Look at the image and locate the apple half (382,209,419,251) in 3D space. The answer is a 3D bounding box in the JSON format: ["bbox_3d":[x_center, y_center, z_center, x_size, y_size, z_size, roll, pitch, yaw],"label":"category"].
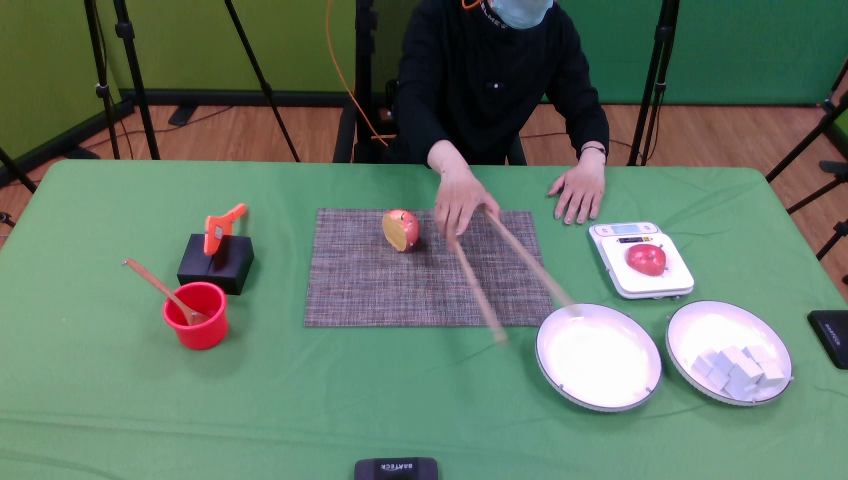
[{"bbox_3d":[-0.039,-0.022,1.175,0.053,0.075,0.080,-27,50,-31],"label":"apple half"}]

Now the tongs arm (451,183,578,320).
[{"bbox_3d":[0.155,0.007,1.094,0.028,0.028,0.385,-27,49,-11],"label":"tongs arm"}]

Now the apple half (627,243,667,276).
[{"bbox_3d":[0.427,0.028,1.150,0.081,0.033,0.081,3,47,-3],"label":"apple half"}]

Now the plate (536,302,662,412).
[{"bbox_3d":[0.288,0.197,1.016,0.209,0.038,0.208,2,46,-2],"label":"plate"}]

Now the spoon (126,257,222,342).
[{"bbox_3d":[-0.408,0.096,0.990,0.194,0.021,0.041,50,53,-18],"label":"spoon"}]

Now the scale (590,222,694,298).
[{"bbox_3d":[0.424,0.031,1.189,0.149,0.032,0.199,-3,46,-7],"label":"scale"}]

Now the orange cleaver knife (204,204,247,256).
[{"bbox_3d":[-0.374,-0.024,1.146,0.012,0.077,0.211,4,14,1],"label":"orange cleaver knife"}]

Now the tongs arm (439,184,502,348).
[{"bbox_3d":[0.086,0.029,1.081,0.051,0.027,0.382,-17,46,-7],"label":"tongs arm"}]

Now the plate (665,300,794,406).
[{"bbox_3d":[0.513,0.194,1.034,0.208,0.039,0.206,2,46,-2],"label":"plate"}]
